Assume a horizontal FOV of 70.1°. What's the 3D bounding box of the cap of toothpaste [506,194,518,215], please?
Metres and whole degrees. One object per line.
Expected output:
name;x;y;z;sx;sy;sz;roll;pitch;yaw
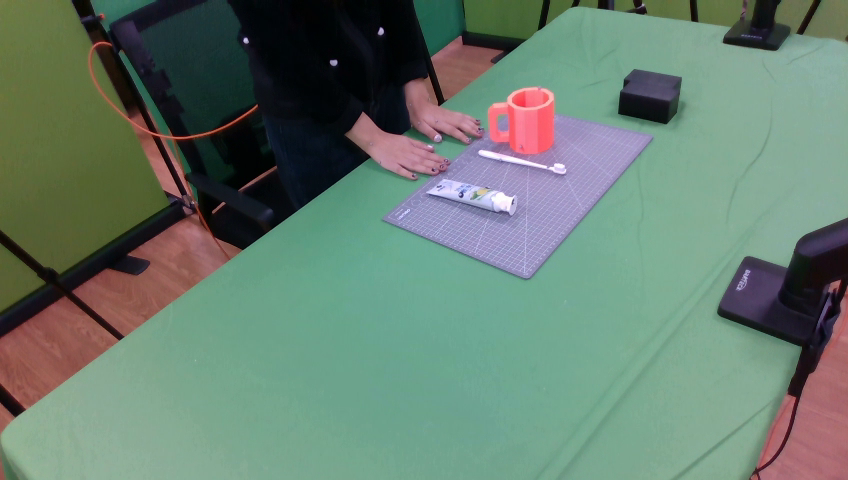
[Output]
cap of toothpaste;0.146;-0.060;1.008;0.011;0.037;0.037;14;46;22

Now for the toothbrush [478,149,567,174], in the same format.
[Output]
toothbrush;0.179;-0.149;1.122;0.180;0.017;0.014;18;62;30

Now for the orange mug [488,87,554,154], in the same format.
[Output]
orange mug;0.185;-0.227;1.151;0.126;0.101;0.083;1;41;5

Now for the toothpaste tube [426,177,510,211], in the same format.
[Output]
toothpaste tube;0.083;-0.081;1.054;0.164;0.034;0.055;18;40;34
